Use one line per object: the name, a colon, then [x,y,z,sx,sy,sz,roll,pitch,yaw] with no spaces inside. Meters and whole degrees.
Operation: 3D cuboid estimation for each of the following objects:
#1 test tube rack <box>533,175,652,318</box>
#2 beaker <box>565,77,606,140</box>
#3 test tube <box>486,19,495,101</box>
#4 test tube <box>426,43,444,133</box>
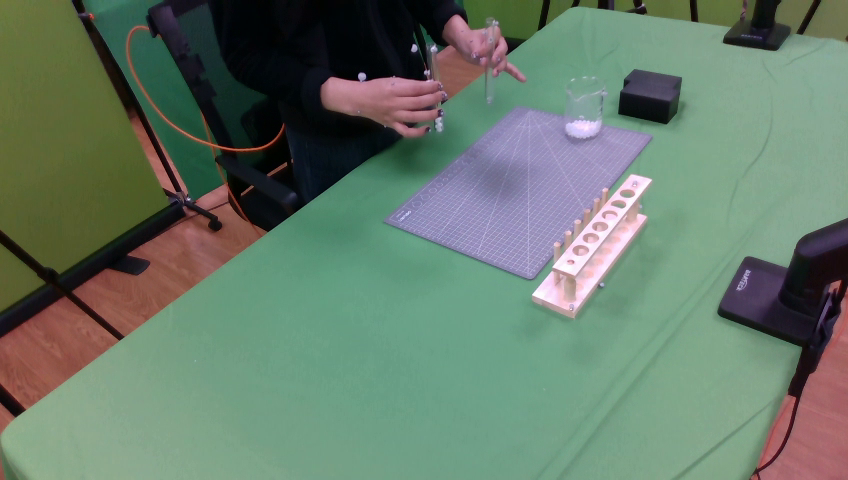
test tube rack: [0.250,-0.001,0.889,0.066,0.085,0.243,22,49,33]
beaker: [0.304,-0.247,1.153,0.073,0.101,0.084,15,47,27]
test tube: [0.115,-0.309,1.048,0.017,0.151,0.017,-3,45,3]
test tube: [0.018,-0.240,0.968,0.017,0.151,0.017,-5,38,4]
